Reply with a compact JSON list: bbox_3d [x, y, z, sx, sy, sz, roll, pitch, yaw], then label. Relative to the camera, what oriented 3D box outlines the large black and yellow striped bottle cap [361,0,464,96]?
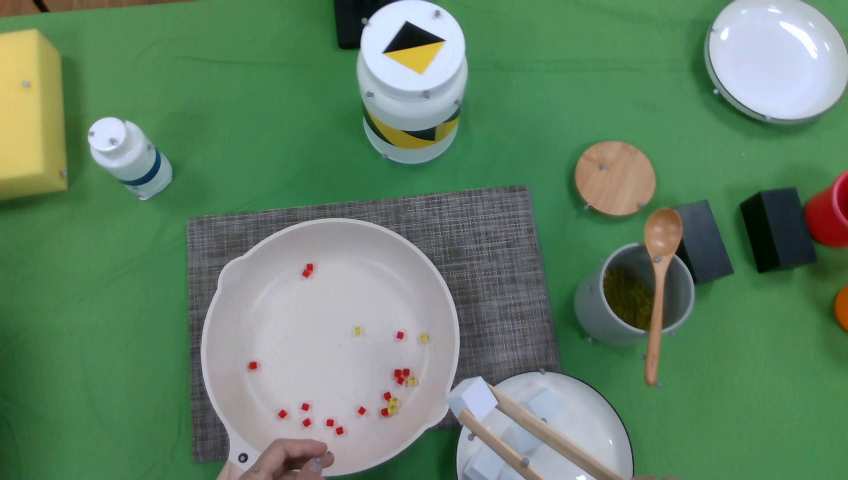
[{"bbox_3d":[-0.013,-0.215,0.672,0.115,0.019,0.114,1,76,-2],"label":"large black and yellow striped bottle cap"}]

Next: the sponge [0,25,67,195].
[{"bbox_3d":[-0.543,-0.166,0.782,0.118,0.061,0.205,-11,77,-6],"label":"sponge"}]

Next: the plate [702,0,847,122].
[{"bbox_3d":[0.499,-0.261,0.870,0.209,0.038,0.208,1,75,-2],"label":"plate"}]

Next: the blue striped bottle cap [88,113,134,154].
[{"bbox_3d":[-0.360,-0.122,0.696,0.044,0.021,0.044,1,77,-3],"label":"blue striped bottle cap"}]

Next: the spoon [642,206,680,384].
[{"bbox_3d":[0.250,0.058,0.655,0.042,0.022,0.193,10,78,-4],"label":"spoon"}]

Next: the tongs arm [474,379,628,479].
[{"bbox_3d":[0.201,0.248,0.536,0.385,0.028,0.028,35,46,16],"label":"tongs arm"}]

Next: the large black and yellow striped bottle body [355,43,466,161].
[{"bbox_3d":[-0.017,-0.191,0.752,0.131,0.185,0.130,1,74,-2],"label":"large black and yellow striped bottle body"}]

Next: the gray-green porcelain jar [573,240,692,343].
[{"bbox_3d":[0.242,0.067,0.725,0.106,0.127,0.105,1,74,-2],"label":"gray-green porcelain jar"}]

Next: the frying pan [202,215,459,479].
[{"bbox_3d":[-0.163,0.195,0.679,0.306,0.103,0.486,34,68,7],"label":"frying pan"}]

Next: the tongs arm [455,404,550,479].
[{"bbox_3d":[0.187,0.260,0.521,0.382,0.027,0.051,38,50,19],"label":"tongs arm"}]

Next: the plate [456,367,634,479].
[{"bbox_3d":[0.140,0.255,0.714,0.208,0.039,0.206,1,77,-3],"label":"plate"}]

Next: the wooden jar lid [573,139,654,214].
[{"bbox_3d":[0.255,-0.085,0.822,0.108,0.021,0.108,1,76,-2],"label":"wooden jar lid"}]

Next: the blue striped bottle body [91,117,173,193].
[{"bbox_3d":[-0.361,-0.108,0.745,0.063,0.121,0.062,1,74,-2],"label":"blue striped bottle body"}]
